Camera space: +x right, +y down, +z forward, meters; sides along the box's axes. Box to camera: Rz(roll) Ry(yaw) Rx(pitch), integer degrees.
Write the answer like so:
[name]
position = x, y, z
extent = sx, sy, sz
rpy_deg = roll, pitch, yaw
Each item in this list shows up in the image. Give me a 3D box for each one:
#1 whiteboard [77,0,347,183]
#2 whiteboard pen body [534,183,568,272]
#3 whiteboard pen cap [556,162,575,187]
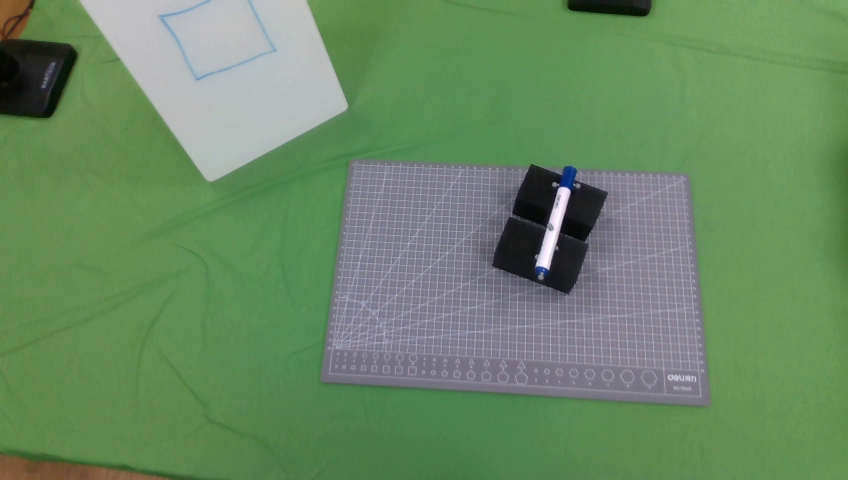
[whiteboard]
position = -0.263, -0.265, 0.752
extent = 0.217, 0.309, 0.142
rpy_deg = -31, 52, -9
[whiteboard pen body]
position = 0.152, -0.026, 0.711
extent = 0.017, 0.017, 0.140
rpy_deg = 16, 68, 8
[whiteboard pen cap]
position = 0.170, -0.077, 0.732
extent = 0.018, 0.018, 0.033
rpy_deg = 17, 68, 8
